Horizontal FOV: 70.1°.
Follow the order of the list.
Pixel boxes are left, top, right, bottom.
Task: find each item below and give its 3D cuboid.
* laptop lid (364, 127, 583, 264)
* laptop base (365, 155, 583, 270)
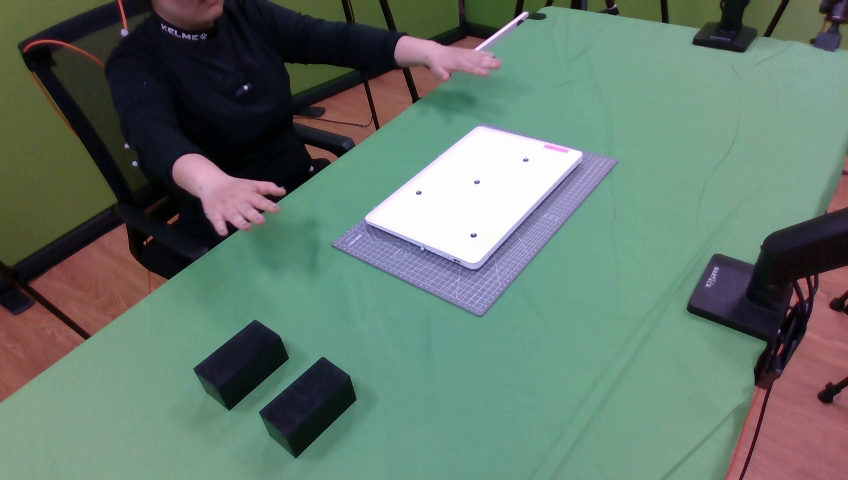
[{"bbox_3d":[0.092,-0.096,1.053,0.239,0.013,0.358,23,48,34],"label":"laptop lid"},{"bbox_3d":[0.095,-0.086,1.059,0.233,0.023,0.355,20,47,33],"label":"laptop base"}]
